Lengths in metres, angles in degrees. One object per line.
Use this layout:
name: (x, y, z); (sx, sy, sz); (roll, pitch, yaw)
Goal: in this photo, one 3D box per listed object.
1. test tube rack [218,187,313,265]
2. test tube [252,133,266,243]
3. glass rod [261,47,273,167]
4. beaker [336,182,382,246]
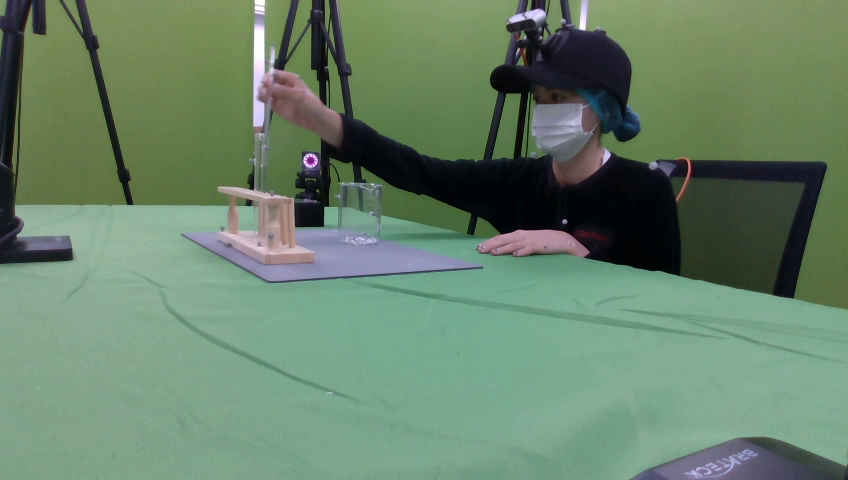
test tube rack: (-0.235, -0.027, 0.872); (0.067, 0.085, 0.241); (-1, 8, -32)
test tube: (-0.225, -0.070, 0.826); (0.017, 0.150, 0.017); (2, 2, 0)
glass rod: (-0.247, -0.211, 0.949); (0.008, 0.199, 0.008); (1, -11, 1)
beaker: (-0.107, -0.043, 0.996); (0.074, 0.100, 0.083); (-2, 10, -29)
